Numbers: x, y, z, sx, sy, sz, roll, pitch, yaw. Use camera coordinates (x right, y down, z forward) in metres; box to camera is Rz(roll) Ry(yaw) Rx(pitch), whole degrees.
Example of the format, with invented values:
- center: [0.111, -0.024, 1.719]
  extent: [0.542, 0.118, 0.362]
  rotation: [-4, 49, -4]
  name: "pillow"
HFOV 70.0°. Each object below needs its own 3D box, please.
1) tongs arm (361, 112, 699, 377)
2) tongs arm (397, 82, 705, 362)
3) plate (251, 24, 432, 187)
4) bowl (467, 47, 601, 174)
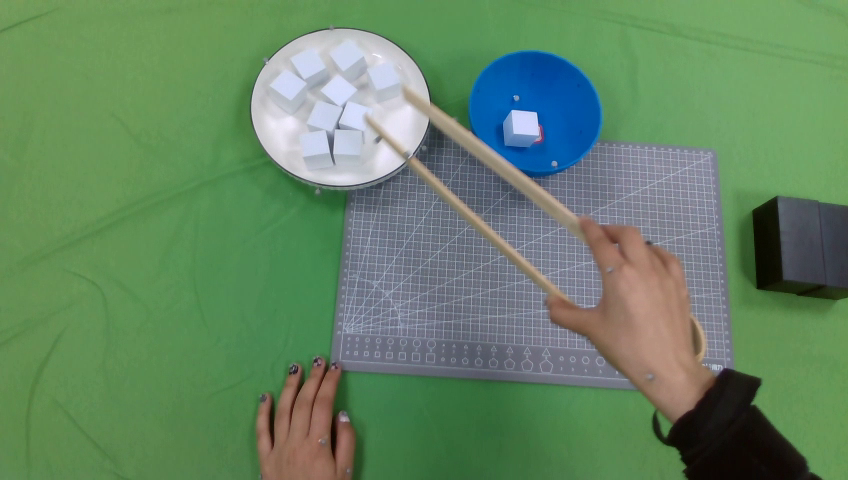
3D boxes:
- center: [0.078, -0.013, 0.555]
  extent: [0.051, 0.027, 0.381]
  rotation: [-39, 67, -13]
  name: "tongs arm"
- center: [0.101, -0.033, 0.562]
  extent: [0.028, 0.028, 0.384]
  rotation: [-39, 67, -17]
  name: "tongs arm"
- center: [-0.095, -0.156, 0.715]
  extent: [0.208, 0.039, 0.206]
  rotation: [1, 73, -3]
  name: "plate"
- center: [0.119, -0.136, 0.704]
  extent: [0.151, 0.077, 0.150]
  rotation: [1, 74, -4]
  name: "bowl"
